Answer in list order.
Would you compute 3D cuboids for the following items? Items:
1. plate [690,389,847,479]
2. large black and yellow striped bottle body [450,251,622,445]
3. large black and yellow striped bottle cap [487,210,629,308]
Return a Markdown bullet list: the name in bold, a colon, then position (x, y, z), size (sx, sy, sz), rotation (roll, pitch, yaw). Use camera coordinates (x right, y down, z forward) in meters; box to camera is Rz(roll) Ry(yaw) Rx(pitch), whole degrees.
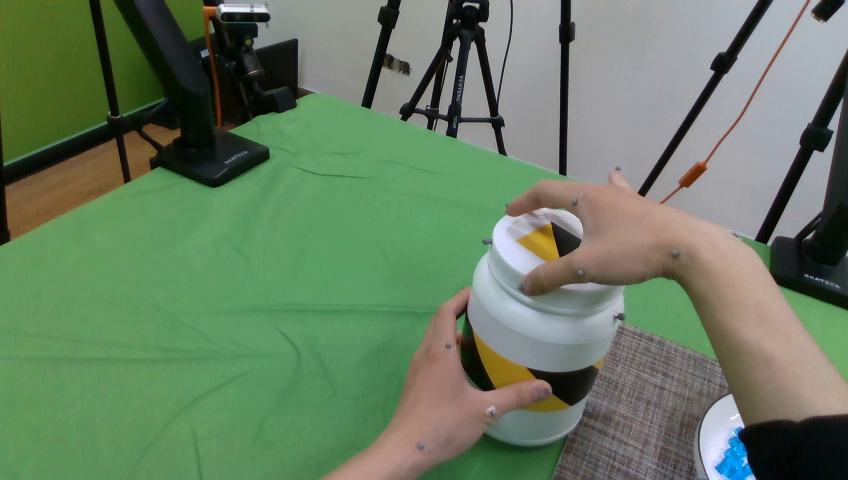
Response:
- **plate**: position (0.332, 0.221, 0.524), size (0.208, 0.039, 0.205), rotation (6, 36, -4)
- **large black and yellow striped bottle body**: position (0.099, 0.080, 0.547), size (0.131, 0.185, 0.129), rotation (6, 36, -4)
- **large black and yellow striped bottle cap**: position (0.110, 0.012, 0.497), size (0.115, 0.019, 0.114), rotation (5, 34, -3)
